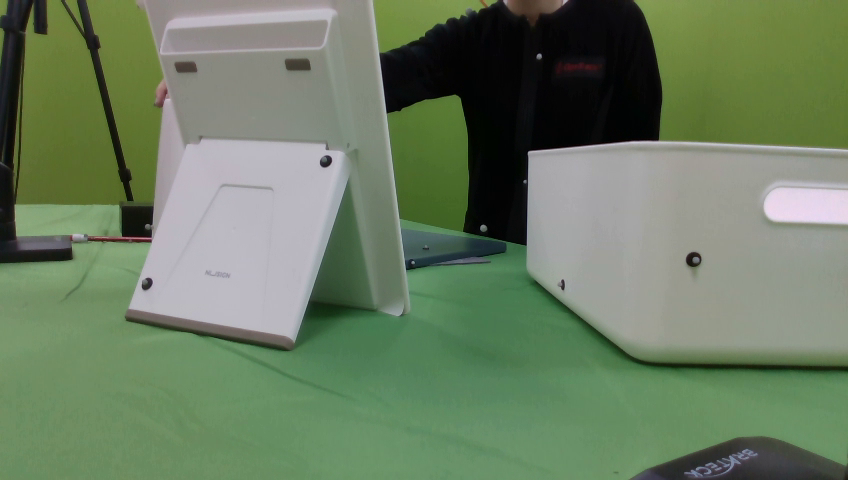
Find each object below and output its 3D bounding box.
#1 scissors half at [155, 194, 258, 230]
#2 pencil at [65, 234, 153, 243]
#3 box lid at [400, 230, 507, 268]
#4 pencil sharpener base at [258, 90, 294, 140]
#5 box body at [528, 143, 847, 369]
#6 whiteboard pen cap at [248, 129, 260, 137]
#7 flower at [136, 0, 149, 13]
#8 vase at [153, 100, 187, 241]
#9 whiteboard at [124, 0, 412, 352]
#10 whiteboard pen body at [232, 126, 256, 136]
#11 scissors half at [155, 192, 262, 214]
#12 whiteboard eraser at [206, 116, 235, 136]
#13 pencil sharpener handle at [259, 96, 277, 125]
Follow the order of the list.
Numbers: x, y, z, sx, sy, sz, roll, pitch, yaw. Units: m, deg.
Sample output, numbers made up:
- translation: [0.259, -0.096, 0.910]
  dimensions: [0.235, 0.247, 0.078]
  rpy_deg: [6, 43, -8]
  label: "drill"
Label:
- translation: [-0.378, -0.051, 1.058]
  dimensions: [0.176, 0.040, 0.012]
  rpy_deg: [20, 22, -31]
  label: "scissors half"
- translation: [-0.429, 0.000, 0.910]
  dimensions: [0.195, 0.012, 0.012]
  rpy_deg: [2, 7, -19]
  label: "pencil"
- translation: [-0.065, 0.011, 0.933]
  dimensions: [0.262, 0.015, 0.373]
  rpy_deg: [8, 8, 36]
  label: "box lid"
- translation: [-0.341, -0.285, 1.388]
  dimensions: [0.062, 0.107, 0.076]
  rpy_deg: [-3, 9, -36]
  label: "pencil sharpener base"
- translation: [0.257, -0.005, 0.591]
  dimensions: [0.254, 0.160, 0.363]
  rpy_deg: [2, 7, -4]
  label: "box body"
- translation: [-0.373, -0.235, 1.326]
  dimensions: [0.018, 0.018, 0.033]
  rpy_deg: [-3, 12, -35]
  label: "whiteboard pen cap"
- translation: [-0.290, -0.152, 0.735]
  dimensions: [0.038, 0.361, 0.044]
  rpy_deg: [-19, 12, -28]
  label: "flower"
- translation: [-0.278, -0.066, 0.736]
  dimensions: [0.098, 0.200, 0.098]
  rpy_deg: [2, 9, 0]
  label: "vase"
- translation: [-0.151, -0.049, 0.472]
  dimensions: [0.216, 0.305, 0.144]
  rpy_deg: [6, 27, 24]
  label: "whiteboard"
- translation: [-0.407, -0.247, 1.372]
  dimensions: [0.017, 0.017, 0.140]
  rpy_deg: [-3, 13, -35]
  label: "whiteboard pen body"
- translation: [-0.371, -0.068, 1.051]
  dimensions: [0.176, 0.040, 0.013]
  rpy_deg: [2, 25, -24]
  label: "scissors half"
- translation: [-0.449, -0.251, 1.335]
  dimensions: [0.056, 0.042, 0.112]
  rpy_deg: [1, 7, -22]
  label: "whiteboard eraser"
- translation: [-0.373, -0.304, 1.425]
  dimensions: [0.036, 0.067, 0.030]
  rpy_deg: [13, -1, -37]
  label: "pencil sharpener handle"
